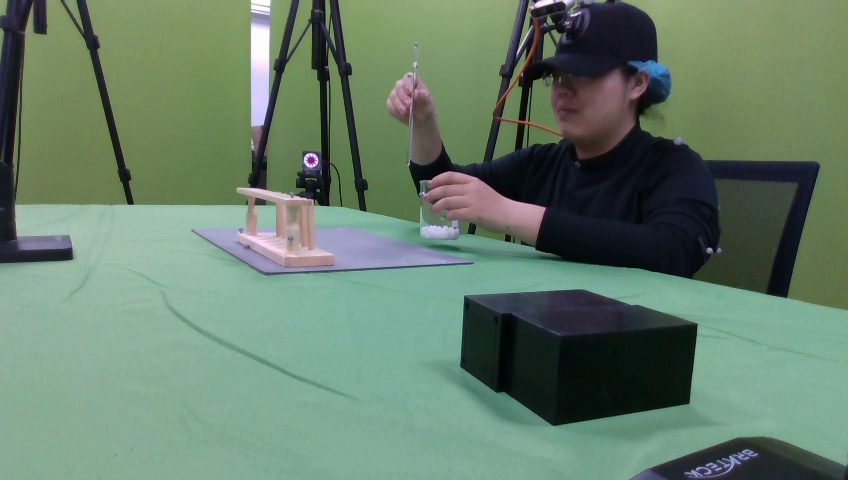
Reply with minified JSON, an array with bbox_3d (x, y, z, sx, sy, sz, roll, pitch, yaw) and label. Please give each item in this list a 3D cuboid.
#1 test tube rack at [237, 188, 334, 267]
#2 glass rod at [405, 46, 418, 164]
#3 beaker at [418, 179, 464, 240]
[{"bbox_3d":[-0.202,-0.024,0.854,0.067,0.085,0.241,-2,9,-30],"label":"test tube rack"},{"bbox_3d":[-0.021,-0.224,1.003,0.008,0.199,0.008,5,-2,0],"label":"glass rod"},{"bbox_3d":[0.031,-0.050,1.012,0.083,0.100,0.074,4,6,40],"label":"beaker"}]
